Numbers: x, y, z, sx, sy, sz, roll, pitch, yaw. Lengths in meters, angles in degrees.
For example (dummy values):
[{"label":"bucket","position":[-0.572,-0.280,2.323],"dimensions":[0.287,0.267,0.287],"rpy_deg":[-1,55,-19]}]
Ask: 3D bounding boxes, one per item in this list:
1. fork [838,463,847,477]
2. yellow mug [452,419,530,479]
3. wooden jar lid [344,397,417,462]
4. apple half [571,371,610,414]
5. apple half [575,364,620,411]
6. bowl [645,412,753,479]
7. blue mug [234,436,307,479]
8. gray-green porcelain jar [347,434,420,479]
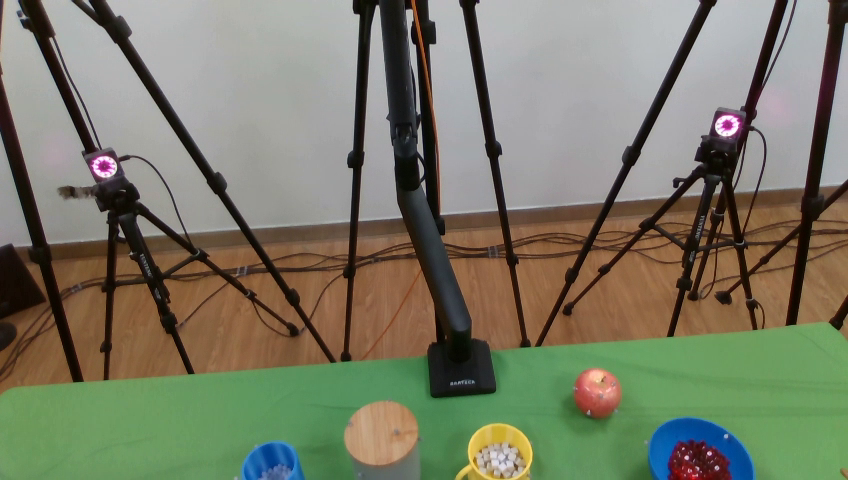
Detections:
[{"label":"fork","position":[0.631,0.371,0.820],"dimensions":[0.208,0.018,0.028],"rpy_deg":[45,47,-8]},{"label":"yellow mug","position":[0.102,0.348,0.949],"dimensions":[0.131,0.064,0.099],"rpy_deg":[-20,43,-18]},{"label":"wooden jar lid","position":[-0.063,0.282,0.894],"dimensions":[0.108,0.021,0.107],"rpy_deg":[-2,38,2]},{"label":"apple half","position":[0.274,0.266,1.027],"dimensions":[0.033,0.082,0.080],"rpy_deg":[-24,44,-29]},{"label":"apple half","position":[0.304,0.251,1.045],"dimensions":[0.053,0.075,0.080],"rpy_deg":[-22,40,-29]},{"label":"bowl","position":[0.407,0.347,0.920],"dimensions":[0.151,0.077,0.150],"rpy_deg":[-2,41,2]},{"label":"blue mug","position":[-0.238,0.368,0.916],"dimensions":[0.117,0.107,0.081],"rpy_deg":[-22,43,-20]},{"label":"gray-green porcelain jar","position":[-0.060,0.330,0.935],"dimensions":[0.106,0.127,0.105],"rpy_deg":[-2,40,2]}]
